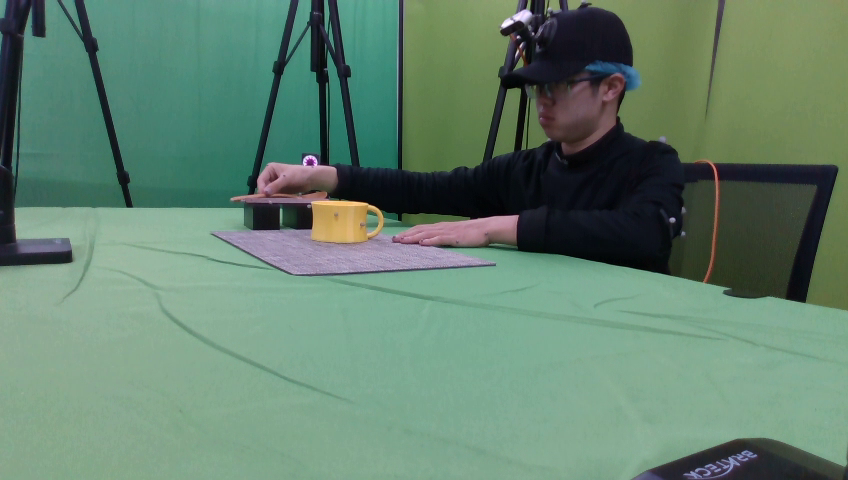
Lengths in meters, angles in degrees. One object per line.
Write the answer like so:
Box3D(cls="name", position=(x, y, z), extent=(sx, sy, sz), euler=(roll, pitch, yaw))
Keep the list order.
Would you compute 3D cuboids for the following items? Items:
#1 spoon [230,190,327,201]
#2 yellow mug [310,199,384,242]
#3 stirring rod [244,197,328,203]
Box3D(cls="spoon", position=(-0.294, -0.089, 1.230), extent=(0.195, 0.021, 0.041), euler=(-1, 34, -26))
Box3D(cls="yellow mug", position=(-0.132, -0.035, 1.054), extent=(0.131, 0.064, 0.099), euler=(0, 8, -23))
Box3D(cls="stirring rod", position=(-0.269, -0.079, 1.199), extent=(0.177, 0.006, 0.014), euler=(-3, 46, -35))
